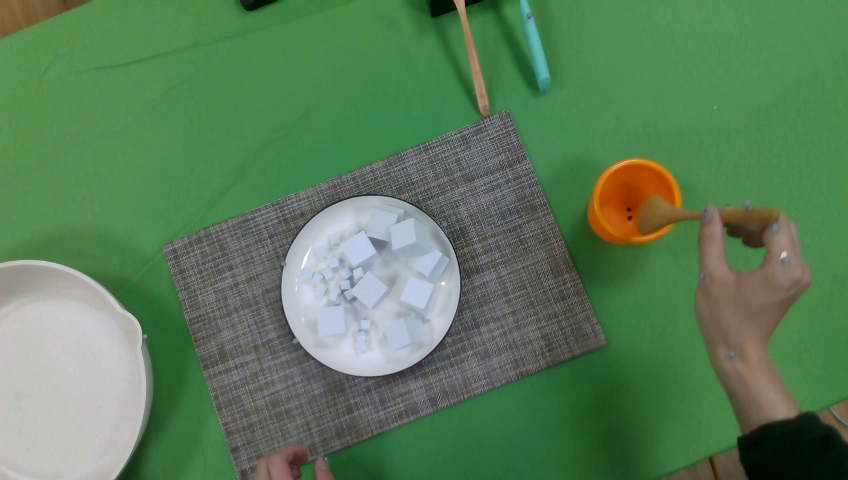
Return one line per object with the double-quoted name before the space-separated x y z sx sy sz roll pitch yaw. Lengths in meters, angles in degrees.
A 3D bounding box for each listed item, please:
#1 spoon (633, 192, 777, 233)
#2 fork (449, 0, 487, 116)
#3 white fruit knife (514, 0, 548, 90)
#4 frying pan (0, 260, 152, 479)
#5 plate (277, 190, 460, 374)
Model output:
"spoon" 0.233 -0.024 0.524 0.022 0.193 0.041 12 90 -14
"fork" 0.045 -0.248 0.711 0.028 0.018 0.208 -17 101 -5
"white fruit knife" 0.110 -0.279 0.710 0.016 0.027 0.208 -19 98 -1
"frying pan" -0.395 0.257 0.658 0.307 0.103 0.484 -29 74 0
"plate" -0.062 0.048 0.697 0.207 0.039 0.207 0 83 3
